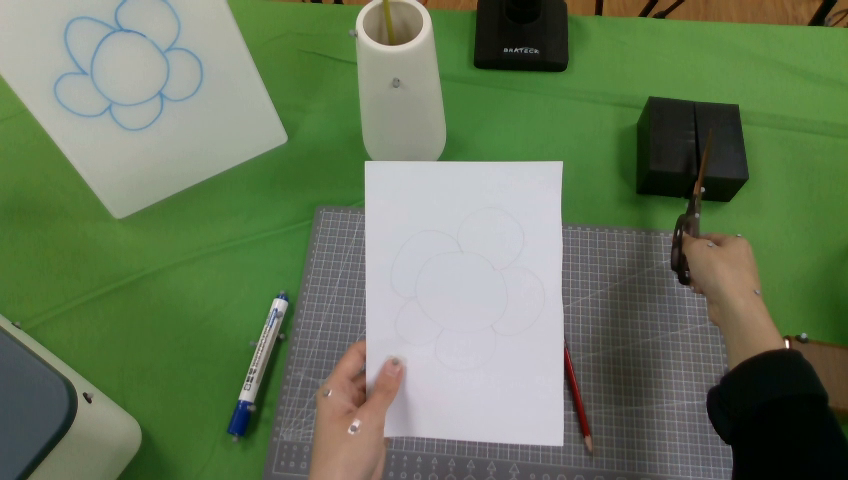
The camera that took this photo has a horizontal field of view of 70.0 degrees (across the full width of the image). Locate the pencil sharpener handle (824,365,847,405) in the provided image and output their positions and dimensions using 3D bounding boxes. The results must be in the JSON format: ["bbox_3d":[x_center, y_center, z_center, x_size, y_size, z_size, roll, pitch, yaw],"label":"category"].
[{"bbox_3d":[0.387,0.132,0.538,0.030,0.068,0.035,9,59,2],"label":"pencil sharpener handle"}]

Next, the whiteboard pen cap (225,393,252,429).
[{"bbox_3d":[-0.179,0.165,0.589,0.018,0.018,0.033,11,60,7],"label":"whiteboard pen cap"}]

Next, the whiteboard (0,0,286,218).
[{"bbox_3d":[-0.319,-0.217,0.648,0.217,0.309,0.142,-28,48,-11],"label":"whiteboard"}]

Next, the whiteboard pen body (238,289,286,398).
[{"bbox_3d":[-0.167,0.114,0.615,0.017,0.017,0.140,10,64,6],"label":"whiteboard pen body"}]

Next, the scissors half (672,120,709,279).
[{"bbox_3d":[0.277,-0.044,0.620,0.012,0.040,0.174,5,76,41],"label":"scissors half"}]

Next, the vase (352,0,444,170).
[{"bbox_3d":[-0.029,-0.161,0.642,0.098,0.201,0.097,-1,64,2],"label":"vase"}]

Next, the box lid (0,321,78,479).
[{"bbox_3d":[-0.475,0.125,0.453,0.370,0.015,0.262,30,68,14],"label":"box lid"}]

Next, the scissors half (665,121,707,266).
[{"bbox_3d":[0.266,-0.052,0.605,0.012,0.040,0.174,7,60,36],"label":"scissors half"}]

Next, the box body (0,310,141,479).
[{"bbox_3d":[-0.471,0.158,0.520,0.362,0.161,0.253,30,69,14],"label":"box body"}]

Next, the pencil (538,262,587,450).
[{"bbox_3d":[0.141,0.112,0.615,0.012,0.012,0.192,-8,67,-3],"label":"pencil"}]

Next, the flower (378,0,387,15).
[{"bbox_3d":[-0.037,-0.210,0.573,0.044,0.365,0.038,-2,47,4],"label":"flower"}]

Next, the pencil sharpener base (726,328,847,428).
[{"bbox_3d":[0.336,0.129,0.550,0.077,0.108,0.061,9,64,2],"label":"pencil sharpener base"}]
